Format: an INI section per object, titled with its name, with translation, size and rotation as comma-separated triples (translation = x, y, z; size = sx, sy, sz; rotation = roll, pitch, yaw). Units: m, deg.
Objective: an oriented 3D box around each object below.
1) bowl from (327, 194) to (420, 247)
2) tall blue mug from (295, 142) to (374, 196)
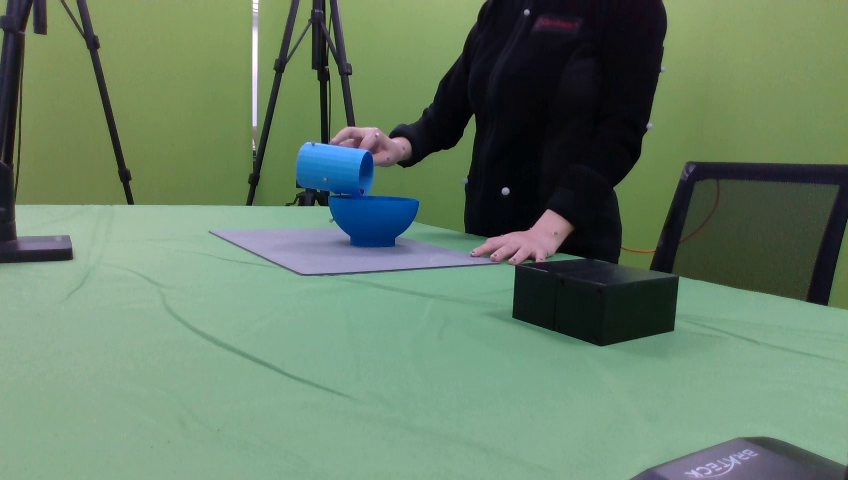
[bowl]
translation = -0.083, -0.032, 0.987
size = 0.151, 0.077, 0.151
rotation = 2, 7, 0
[tall blue mug]
translation = -0.142, -0.129, 1.004
size = 0.108, 0.107, 0.078
rotation = 9, -35, 12
